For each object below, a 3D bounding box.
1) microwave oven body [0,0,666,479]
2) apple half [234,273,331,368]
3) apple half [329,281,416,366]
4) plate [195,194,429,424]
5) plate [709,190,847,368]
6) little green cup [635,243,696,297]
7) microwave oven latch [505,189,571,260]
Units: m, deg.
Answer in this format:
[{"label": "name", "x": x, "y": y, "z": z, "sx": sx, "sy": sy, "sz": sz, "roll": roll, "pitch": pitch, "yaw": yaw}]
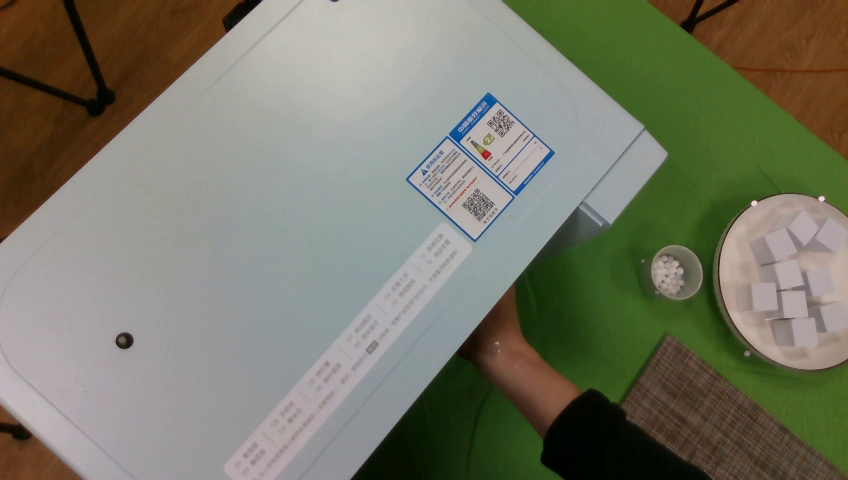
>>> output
[{"label": "microwave oven body", "x": -0.090, "y": 0.000, "z": 0.534, "sx": 0.326, "sy": 0.260, "sz": 0.441, "roll": 42, "pitch": 79, "yaw": 0}, {"label": "apple half", "x": -0.127, "y": 0.073, "z": 0.534, "sx": 0.074, "sy": 0.053, "sz": 0.081, "roll": -36, "pitch": 96, "yaw": -5}, {"label": "apple half", "x": -0.049, "y": 0.076, "z": 0.554, "sx": 0.081, "sy": 0.033, "sz": 0.081, "roll": 1, "pitch": 76, "yaw": -4}, {"label": "plate", "x": -0.100, "y": 0.062, "z": 0.560, "sx": 0.209, "sy": 0.038, "sz": 0.208, "roll": 1, "pitch": 83, "yaw": -9}, {"label": "plate", "x": 0.429, "y": 0.045, "z": 0.714, "sx": 0.208, "sy": 0.039, "sz": 0.207, "roll": 1, "pitch": 81, "yaw": -7}, {"label": "little green cup", "x": 0.273, "y": 0.036, "z": 0.693, "sx": 0.061, "sy": 0.038, "sz": 0.061, "roll": 1, "pitch": 82, "yaw": -5}, {"label": "microwave oven latch", "x": 0.125, "y": -0.015, "z": 0.663, "sx": 0.030, "sy": 0.029, "sz": 0.079, "roll": 44, "pitch": 79, "yaw": 1}]
